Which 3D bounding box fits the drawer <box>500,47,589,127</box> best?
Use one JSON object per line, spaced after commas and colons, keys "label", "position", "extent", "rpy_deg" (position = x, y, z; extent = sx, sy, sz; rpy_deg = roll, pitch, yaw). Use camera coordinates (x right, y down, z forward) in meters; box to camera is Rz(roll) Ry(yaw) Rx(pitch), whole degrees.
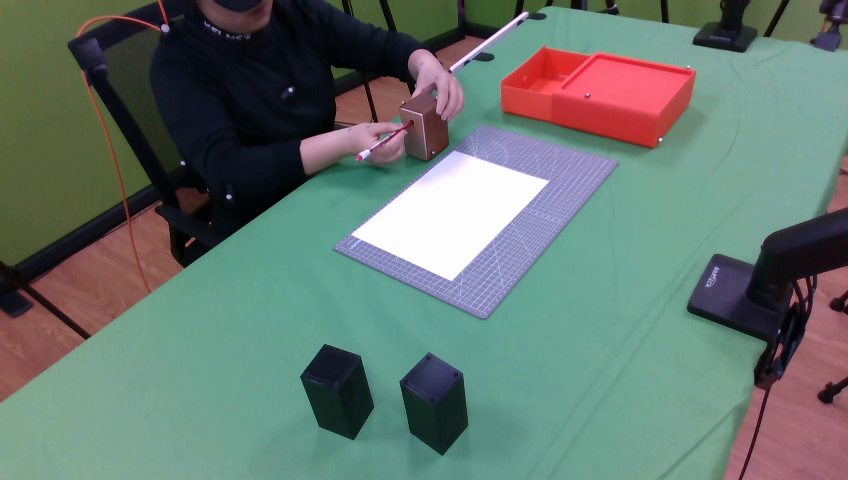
{"label": "drawer", "position": [0.295, -0.316, 1.255], "extent": [0.210, 0.073, 0.195], "rpy_deg": [22, 47, 29]}

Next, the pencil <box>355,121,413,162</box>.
{"label": "pencil", "position": [-0.055, -0.190, 1.095], "extent": [0.012, 0.012, 0.194], "rpy_deg": [25, 50, 33]}

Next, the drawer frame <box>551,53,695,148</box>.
{"label": "drawer frame", "position": [0.391, -0.281, 1.196], "extent": [0.212, 0.083, 0.202], "rpy_deg": [22, 48, 29]}

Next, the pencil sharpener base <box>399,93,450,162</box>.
{"label": "pencil sharpener base", "position": [0.003, -0.216, 1.159], "extent": [0.061, 0.107, 0.077], "rpy_deg": [23, 49, 32]}

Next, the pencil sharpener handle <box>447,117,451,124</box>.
{"label": "pencil sharpener handle", "position": [0.035, -0.253, 1.179], "extent": [0.035, 0.068, 0.031], "rpy_deg": [18, 46, 36]}
